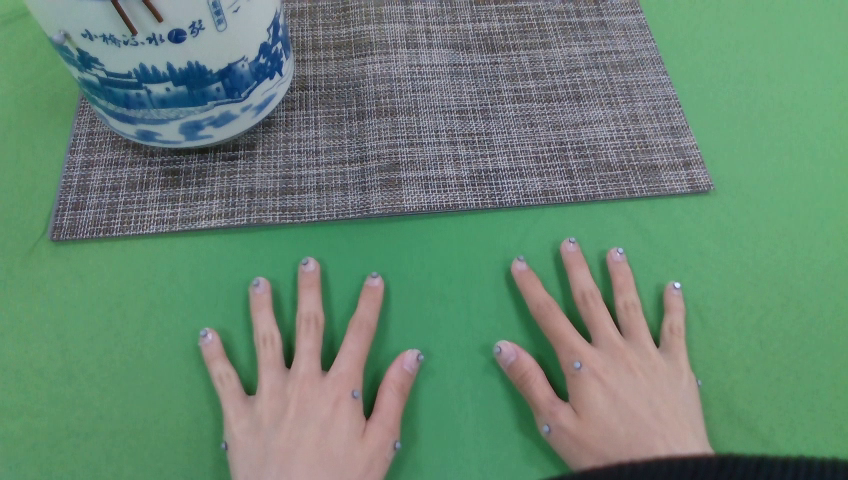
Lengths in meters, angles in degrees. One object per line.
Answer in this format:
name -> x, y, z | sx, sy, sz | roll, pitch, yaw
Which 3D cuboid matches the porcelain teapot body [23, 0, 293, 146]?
porcelain teapot body -> -0.171, -0.195, 0.371 | 0.145, 0.227, 0.203 | -10, 61, -7
